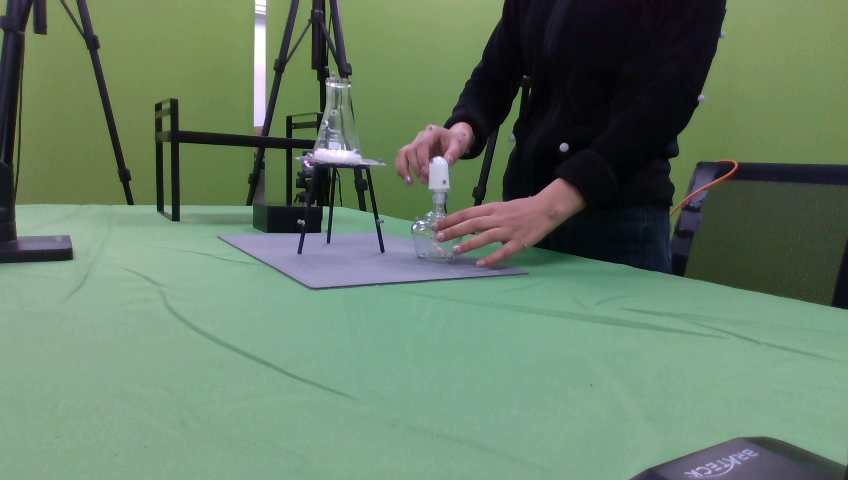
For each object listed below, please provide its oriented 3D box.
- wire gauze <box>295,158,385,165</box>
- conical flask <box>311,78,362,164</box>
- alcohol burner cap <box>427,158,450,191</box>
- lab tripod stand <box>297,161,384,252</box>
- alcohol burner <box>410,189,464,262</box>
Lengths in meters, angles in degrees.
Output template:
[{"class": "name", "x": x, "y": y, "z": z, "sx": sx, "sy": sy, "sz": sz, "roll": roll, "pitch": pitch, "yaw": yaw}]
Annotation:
[{"class": "wire gauze", "x": -0.128, "y": -0.117, "z": 0.901, "sx": 0.125, "sy": 0.011, "sz": 0.121, "roll": -2, "pitch": 8, "yaw": -14}, {"class": "conical flask", "x": -0.128, "y": -0.174, "z": 0.890, "sx": 0.075, "sy": 0.122, "sz": 0.075, "roll": 3, "pitch": 9, "yaw": 0}, {"class": "alcohol burner cap", "x": 0.020, "y": -0.093, "z": 0.856, "sx": 0.034, "sy": 0.048, "sz": 0.034, "roll": -1, "pitch": 5, "yaw": 0}, {"class": "lab tripod stand", "x": -0.130, "y": -0.051, "z": 0.903, "sx": 0.148, "sy": 0.131, "sz": 0.148, "roll": 3, "pitch": 9, "yaw": 0}, {"class": "alcohol burner", "x": 0.021, "y": -0.028, "z": 0.865, "sx": 0.078, "sy": 0.119, "sz": 0.078, "roll": 5, "pitch": 7, "yaw": 0}]
